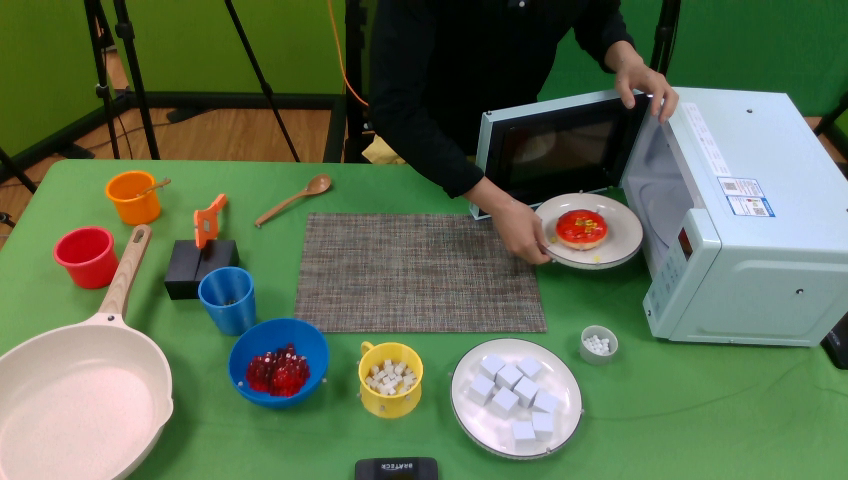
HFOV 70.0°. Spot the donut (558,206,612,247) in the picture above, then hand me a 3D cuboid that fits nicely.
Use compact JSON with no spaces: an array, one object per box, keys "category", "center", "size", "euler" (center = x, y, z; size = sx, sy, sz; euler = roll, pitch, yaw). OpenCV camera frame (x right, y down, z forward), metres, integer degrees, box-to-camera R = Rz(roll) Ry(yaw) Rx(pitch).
[{"category":"donut","center":[0.303,-0.026,1.142],"size":[0.099,0.048,0.098],"euler":[-5,40,5]}]

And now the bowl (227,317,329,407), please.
[{"category":"bowl","center":[-0.222,0.203,0.947],"size":[0.151,0.077,0.150],"euler":[2,46,-2]}]

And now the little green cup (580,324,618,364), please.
[{"category":"little green cup","center":[0.295,0.179,1.031],"size":[0.061,0.039,0.061],"euler":[2,45,-2]}]

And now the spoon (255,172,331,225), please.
[{"category":"spoon","center":[-0.272,-0.087,1.257],"size":[0.041,0.022,0.193],"euler":[43,57,17]}]

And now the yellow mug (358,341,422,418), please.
[{"category":"yellow mug","center":[-0.063,0.210,0.960],"size":[0.100,0.064,0.130],"euler":[-29,54,-28]}]

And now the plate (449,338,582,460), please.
[{"category":"plate","center":[0.141,0.251,0.955],"size":[0.208,0.039,0.206],"euler":[2,46,-2]}]

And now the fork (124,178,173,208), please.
[{"category":"fork","center":[-0.525,-0.090,1.154],"size":[0.207,0.019,0.028],"euler":[-17,27,45]}]

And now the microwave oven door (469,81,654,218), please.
[{"category":"microwave oven door","center":[0.270,-0.180,1.207],"size":[0.356,0.245,0.039],"euler":[-14,49,-16]}]

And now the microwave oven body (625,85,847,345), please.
[{"category":"microwave oven body","center":[0.568,-0.054,1.116],"size":[0.326,0.261,0.439],"euler":[2,46,-1]}]

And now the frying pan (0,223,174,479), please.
[{"category":"frying pan","center":[-0.505,0.169,0.941],"size":[0.307,0.103,0.485],"euler":[5,54,-1]}]

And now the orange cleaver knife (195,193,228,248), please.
[{"category":"orange cleaver knife","center":[-0.406,-0.041,1.163],"size":[0.012,0.077,0.210],"euler":[0,18,-3]}]

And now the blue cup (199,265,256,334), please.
[{"category":"blue cup","center":[-0.321,0.106,1.015],"size":[0.093,0.101,0.092],"euler":[2,48,-2]}]

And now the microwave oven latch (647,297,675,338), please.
[{"category":"microwave oven latch","center":[0.413,0.133,1.060],"size":[0.030,0.029,0.078],"euler":[5,46,2]}]

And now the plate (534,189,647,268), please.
[{"category":"plate","center":[0.312,-0.019,1.149],"size":[0.209,0.038,0.208],"euler":[-2,43,2]}]
